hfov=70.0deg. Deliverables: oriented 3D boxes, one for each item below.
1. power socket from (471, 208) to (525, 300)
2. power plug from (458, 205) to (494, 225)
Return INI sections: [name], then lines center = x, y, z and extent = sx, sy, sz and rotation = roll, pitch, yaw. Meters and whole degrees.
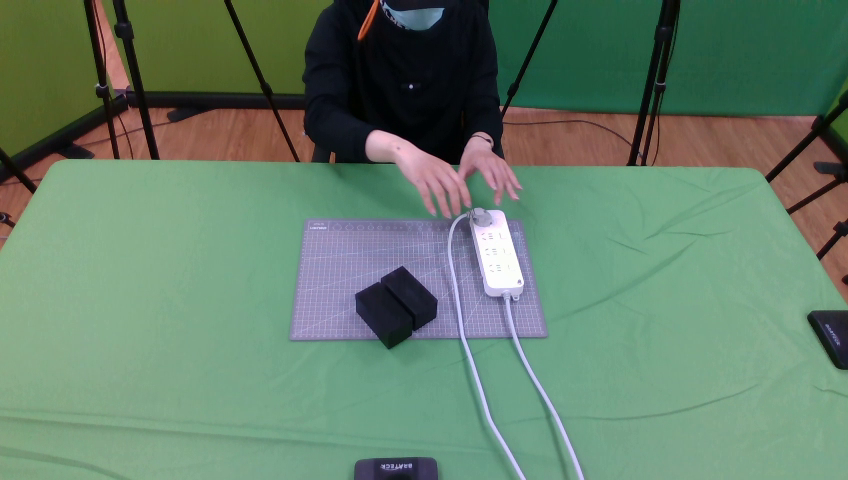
[power socket]
center = 0.141, 0.019, 1.172
extent = 0.072, 0.033, 0.225
rotation = -3, 47, -5
[power plug]
center = 0.104, -0.048, 1.207
extent = 0.072, 0.053, 0.035
rotation = 4, 48, 6
